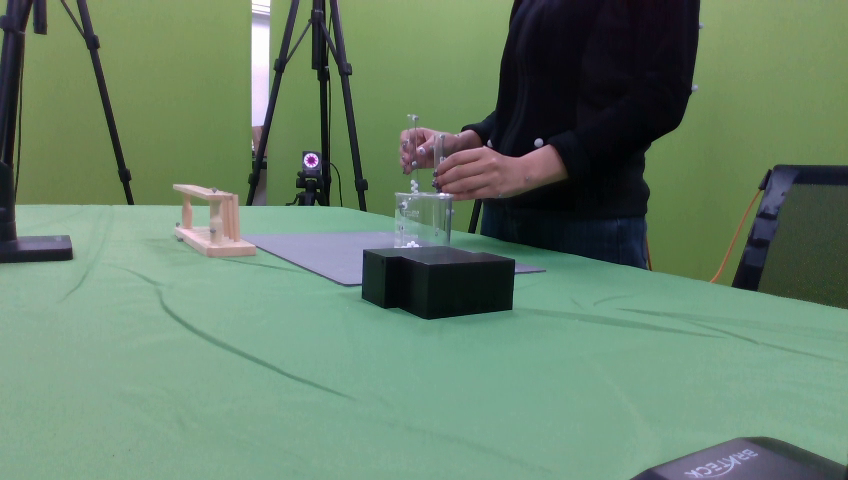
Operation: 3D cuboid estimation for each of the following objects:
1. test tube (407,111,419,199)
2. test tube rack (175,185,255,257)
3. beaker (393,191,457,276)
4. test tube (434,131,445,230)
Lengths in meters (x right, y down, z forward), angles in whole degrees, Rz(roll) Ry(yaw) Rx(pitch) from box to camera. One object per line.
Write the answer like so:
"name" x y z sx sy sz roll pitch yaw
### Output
"test tube" -0.018 -0.144 1.040 0.017 0.150 0.017 -2 14 1
"test tube rack" -0.324 -0.035 0.922 0.067 0.085 0.241 -2 9 -31
"beaker" -0.003 -0.010 0.749 0.074 0.100 0.083 -3 8 -40
"test tube" 0.024 -0.089 0.919 0.017 0.150 0.017 -1 3 0
